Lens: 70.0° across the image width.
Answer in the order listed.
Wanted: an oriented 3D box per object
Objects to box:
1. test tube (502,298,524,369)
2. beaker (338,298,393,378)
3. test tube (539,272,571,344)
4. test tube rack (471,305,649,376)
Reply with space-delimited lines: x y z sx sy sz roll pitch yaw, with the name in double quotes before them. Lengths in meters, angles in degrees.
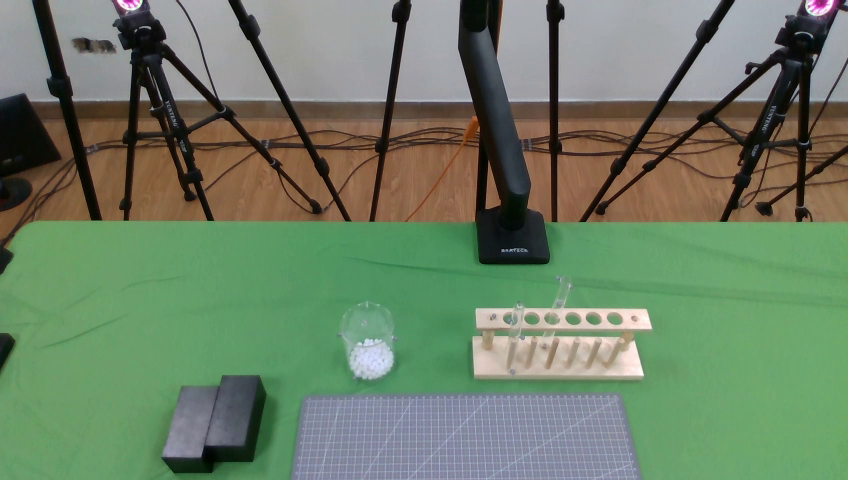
"test tube" 0.121 0.129 0.823 0.017 0.152 0.017 0 46 0
"beaker" -0.080 0.142 0.861 0.074 0.101 0.083 -3 48 -4
"test tube" 0.181 0.099 0.844 0.017 0.151 0.017 2 46 -2
"test tube rack" 0.192 0.145 0.869 0.242 0.086 0.066 0 48 0
